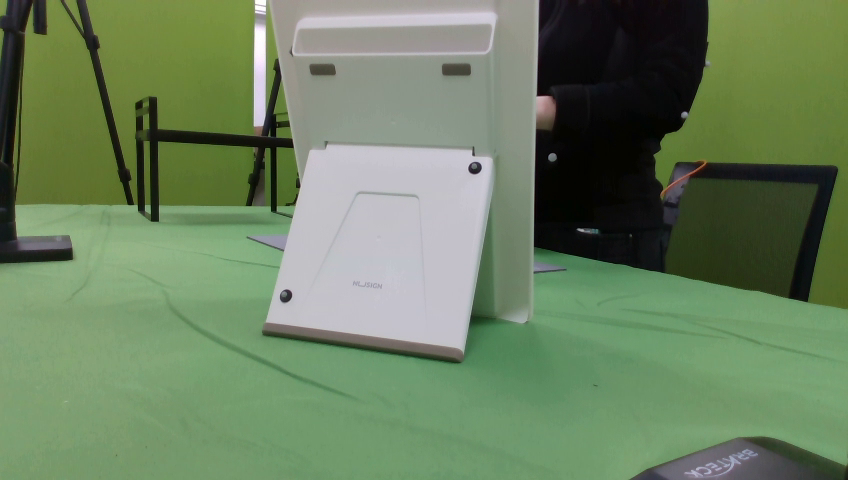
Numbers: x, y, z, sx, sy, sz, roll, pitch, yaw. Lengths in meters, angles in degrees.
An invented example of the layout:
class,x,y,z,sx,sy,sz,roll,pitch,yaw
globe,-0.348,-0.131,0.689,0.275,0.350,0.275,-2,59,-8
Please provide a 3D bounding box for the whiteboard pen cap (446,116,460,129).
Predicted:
class,x,y,z,sx,sy,sz,roll,pitch,yaw
whiteboard pen cap,0.045,-0.186,0.954,0.018,0.018,0.033,0,20,-16

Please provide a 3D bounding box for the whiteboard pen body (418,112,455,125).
class,x,y,z,sx,sy,sz,roll,pitch,yaw
whiteboard pen body,0.021,-0.202,1.005,0.017,0.017,0.140,-1,14,-23

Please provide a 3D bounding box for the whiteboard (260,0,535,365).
class,x,y,z,sx,sy,sz,roll,pitch,yaw
whiteboard,-0.037,-0.041,0.457,0.216,0.305,0.144,5,28,19
